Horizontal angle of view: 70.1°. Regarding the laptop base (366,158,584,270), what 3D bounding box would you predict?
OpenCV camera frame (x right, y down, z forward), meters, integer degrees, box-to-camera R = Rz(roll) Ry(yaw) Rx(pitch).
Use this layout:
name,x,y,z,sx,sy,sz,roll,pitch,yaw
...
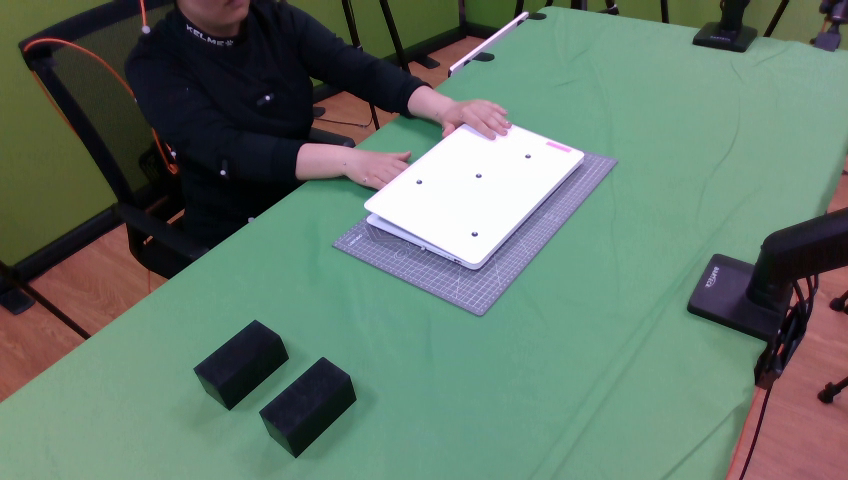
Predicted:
name,x,y,z,sx,sy,sz,roll,pitch,yaw
laptop base,0.097,-0.085,1.059,0.233,0.023,0.355,20,47,34

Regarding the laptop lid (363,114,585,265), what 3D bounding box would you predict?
name,x,y,z,sx,sy,sz,roll,pitch,yaw
laptop lid,0.094,-0.106,1.042,0.240,0.013,0.358,29,52,28
